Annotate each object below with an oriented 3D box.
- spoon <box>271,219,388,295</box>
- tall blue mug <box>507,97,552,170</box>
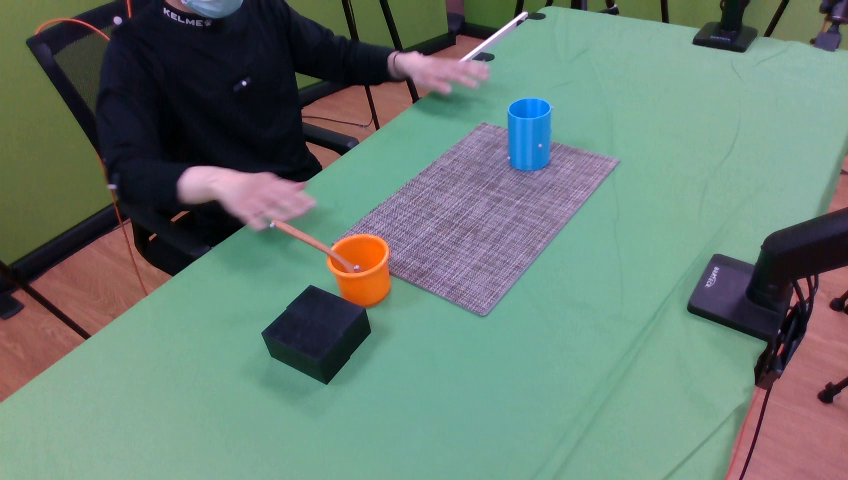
[{"bbox_3d":[-0.133,0.022,0.865,0.021,0.195,0.041,-35,27,40],"label":"spoon"},{"bbox_3d":[0.179,-0.198,1.101,0.078,0.108,0.106,-36,49,-28],"label":"tall blue mug"}]
